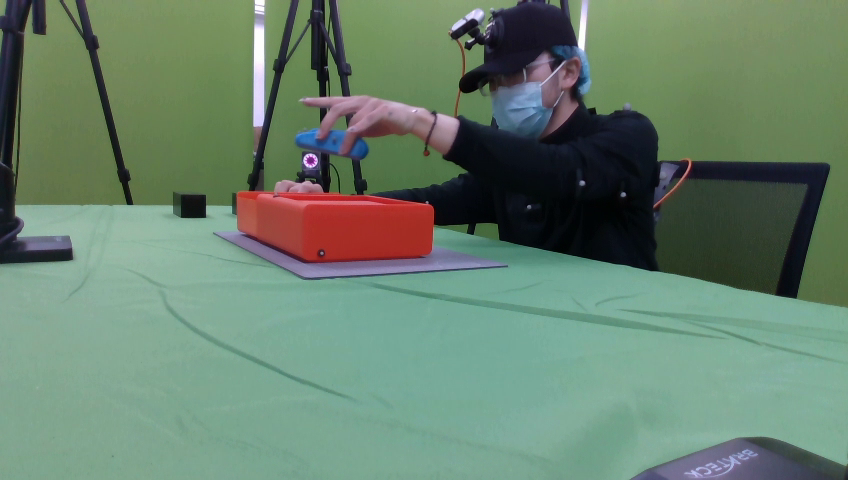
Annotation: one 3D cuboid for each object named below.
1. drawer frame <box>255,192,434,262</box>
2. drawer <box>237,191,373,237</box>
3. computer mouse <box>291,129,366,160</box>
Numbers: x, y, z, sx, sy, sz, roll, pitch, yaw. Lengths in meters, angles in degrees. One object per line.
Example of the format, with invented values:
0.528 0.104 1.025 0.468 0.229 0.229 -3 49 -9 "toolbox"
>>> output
-0.125 -0.026 0.910 0.203 0.082 0.212 -1 9 -32 "drawer frame"
-0.186 -0.040 1.006 0.195 0.073 0.210 -1 8 -32 "drawer"
-0.150 -0.155 0.961 0.117 0.041 0.063 7 6 -3 "computer mouse"
